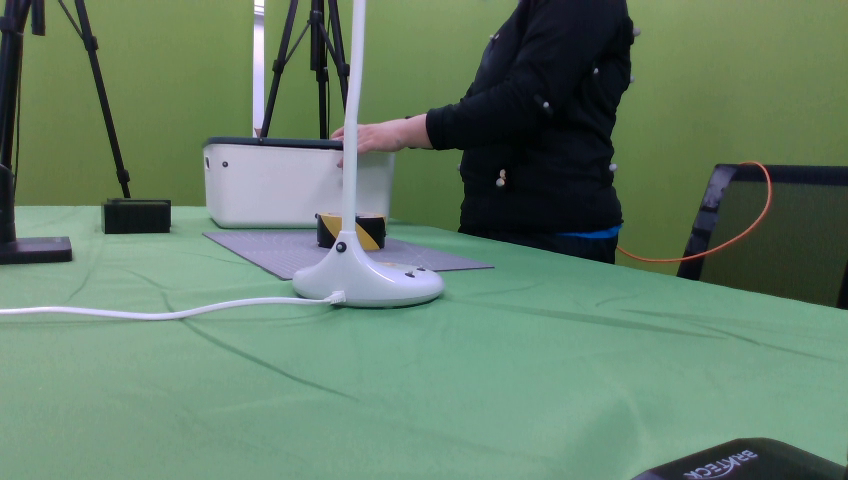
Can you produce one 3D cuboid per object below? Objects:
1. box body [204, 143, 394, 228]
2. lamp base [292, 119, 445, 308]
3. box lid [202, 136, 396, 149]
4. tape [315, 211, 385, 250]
[{"bbox_3d":[-0.271,-0.117,1.291,0.366,0.160,0.253,-1,8,-25],"label":"box body"},{"bbox_3d":[-0.056,-0.030,0.616,0.160,0.180,0.179,4,10,8],"label":"lamp base"},{"bbox_3d":[-0.270,-0.203,1.278,0.373,0.015,0.262,-3,7,-24],"label":"box lid"},{"bbox_3d":[-0.119,-0.017,0.973,0.117,0.052,0.117,2,7,0],"label":"tape"}]
